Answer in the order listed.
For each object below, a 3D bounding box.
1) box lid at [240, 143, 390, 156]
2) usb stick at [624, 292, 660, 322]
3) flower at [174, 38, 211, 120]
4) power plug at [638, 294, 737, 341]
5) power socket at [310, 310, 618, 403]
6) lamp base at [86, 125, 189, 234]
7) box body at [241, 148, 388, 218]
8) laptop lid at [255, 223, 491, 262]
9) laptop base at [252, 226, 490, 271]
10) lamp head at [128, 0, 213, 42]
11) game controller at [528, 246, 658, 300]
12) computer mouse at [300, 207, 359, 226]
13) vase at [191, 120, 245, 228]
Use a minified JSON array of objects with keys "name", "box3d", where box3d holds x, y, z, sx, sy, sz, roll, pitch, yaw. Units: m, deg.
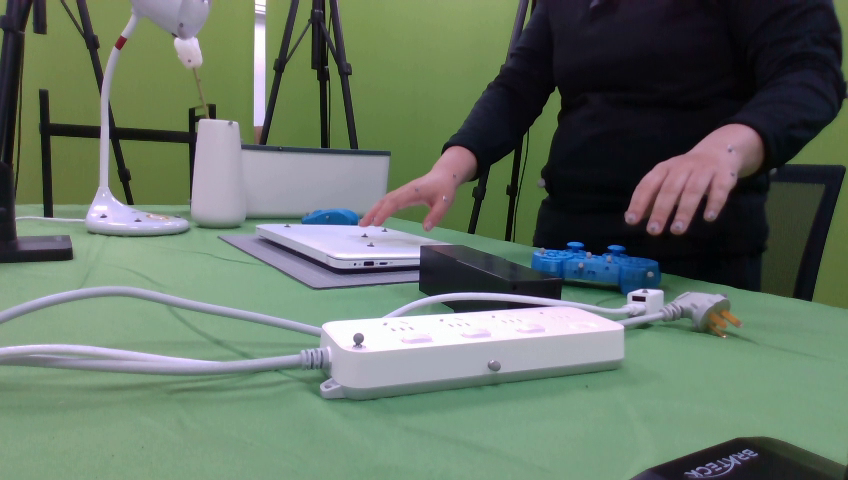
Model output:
[{"name":"box lid","box3d":[-0.295,-0.217,1.463,0.373,0.015,0.262,-1,8,-30]},{"name":"usb stick","box3d":[0.211,0.064,0.580,0.021,0.027,0.059,-3,-5,36]},{"name":"flower","box3d":[-0.401,-0.207,1.141,0.038,0.361,0.044,-14,3,44]},{"name":"power plug","box3d":[0.234,0.076,0.534,0.072,0.035,0.052,-31,40,-7]},{"name":"power socket","box3d":[0.033,0.074,0.415,0.228,0.032,0.072,-1,7,-24]},{"name":"lamp base","box3d":[-0.497,-0.105,1.027,0.179,0.180,0.160,1,7,3]},{"name":"box body","box3d":[-0.297,-0.143,1.474,0.366,0.160,0.253,-1,9,-30]},{"name":"laptop lid","box3d":[-0.093,0.000,0.911,0.243,0.013,0.355,1,7,-30]},{"name":"laptop base","box3d":[-0.096,0.011,0.911,0.237,0.023,0.352,2,6,-32]},{"name":"lamp head","box3d":[-0.423,-0.394,0.980,0.123,0.112,0.112,20,7,-3]},{"name":"game controller","box3d":[0.202,0.036,0.733,0.155,0.051,0.097,5,10,20]},{"name":"computer mouse","box3d":[-0.194,-0.046,1.241,0.117,0.041,0.063,0,10,11]},{"name":"vase","box3d":[-0.389,-0.124,1.142,0.098,0.200,0.098,3,9,0]}]
